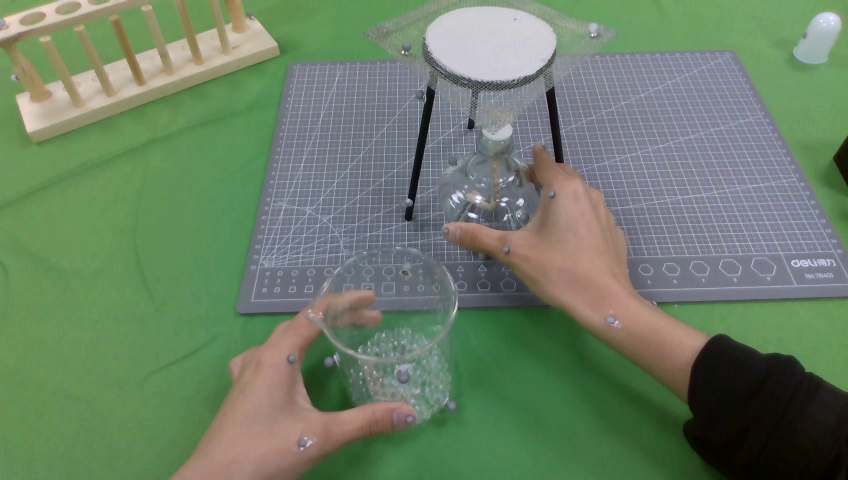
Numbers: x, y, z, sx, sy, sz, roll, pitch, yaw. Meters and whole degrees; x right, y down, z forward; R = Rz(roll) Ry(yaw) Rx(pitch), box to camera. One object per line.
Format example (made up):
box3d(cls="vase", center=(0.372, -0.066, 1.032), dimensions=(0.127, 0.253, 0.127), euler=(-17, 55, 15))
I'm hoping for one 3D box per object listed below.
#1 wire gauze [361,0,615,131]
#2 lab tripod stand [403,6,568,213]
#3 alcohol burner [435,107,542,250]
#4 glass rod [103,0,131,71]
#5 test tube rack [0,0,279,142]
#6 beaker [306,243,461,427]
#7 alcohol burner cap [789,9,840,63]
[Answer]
box3d(cls="wire gauze", center=(0.041, -0.131, 0.398), dimensions=(0.121, 0.011, 0.124), euler=(-36, 59, -25))
box3d(cls="lab tripod stand", center=(0.047, -0.091, 0.453), dimensions=(0.148, 0.132, 0.147), euler=(0, 51, 0))
box3d(cls="alcohol burner", center=(0.047, -0.047, 0.430), dimensions=(0.078, 0.120, 0.077), euler=(0, 53, 0))
box3d(cls="glass rod", center=(-0.282, -0.229, 0.521), dimensions=(0.008, 0.201, 0.008), euler=(3, 51, -3))
box3d(cls="test tube rack", center=(-0.270, -0.187, 0.573), dimensions=(0.242, 0.086, 0.066), euler=(-27, 55, -19))
box3d(cls="beaker", center=(-0.020, 0.062, 0.359), dimensions=(0.084, 0.101, 0.073), euler=(-6, 51, -3))
box3d(cls="alcohol burner cap", center=(0.385, -0.203, 0.594), dimensions=(0.034, 0.048, 0.033), euler=(-1, 51, 1))
